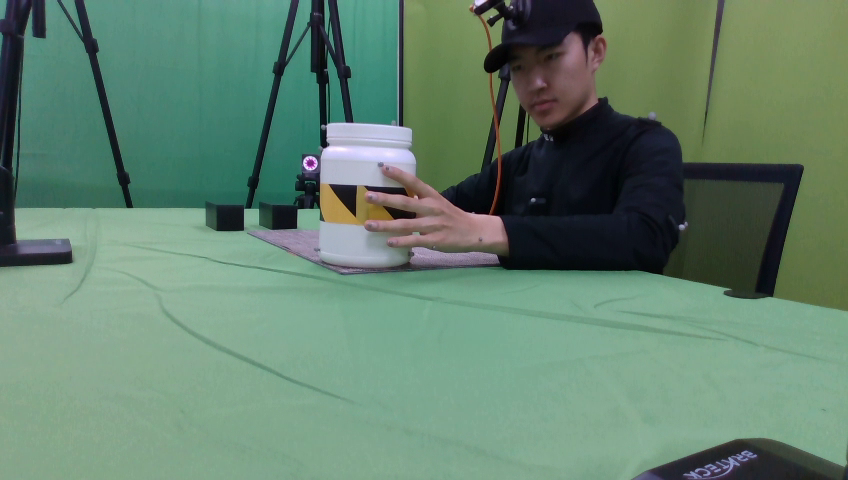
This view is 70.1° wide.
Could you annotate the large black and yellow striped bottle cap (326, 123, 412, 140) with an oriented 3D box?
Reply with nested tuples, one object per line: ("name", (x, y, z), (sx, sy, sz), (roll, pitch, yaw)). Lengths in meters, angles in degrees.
("large black and yellow striped bottle cap", (-0.074, -0.145, 0.812), (0.115, 0.019, 0.115), (1, 6, 0))

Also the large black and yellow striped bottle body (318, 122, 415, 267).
("large black and yellow striped bottle body", (-0.078, -0.063, 0.824), (0.131, 0.184, 0.130), (2, 7, 0))
